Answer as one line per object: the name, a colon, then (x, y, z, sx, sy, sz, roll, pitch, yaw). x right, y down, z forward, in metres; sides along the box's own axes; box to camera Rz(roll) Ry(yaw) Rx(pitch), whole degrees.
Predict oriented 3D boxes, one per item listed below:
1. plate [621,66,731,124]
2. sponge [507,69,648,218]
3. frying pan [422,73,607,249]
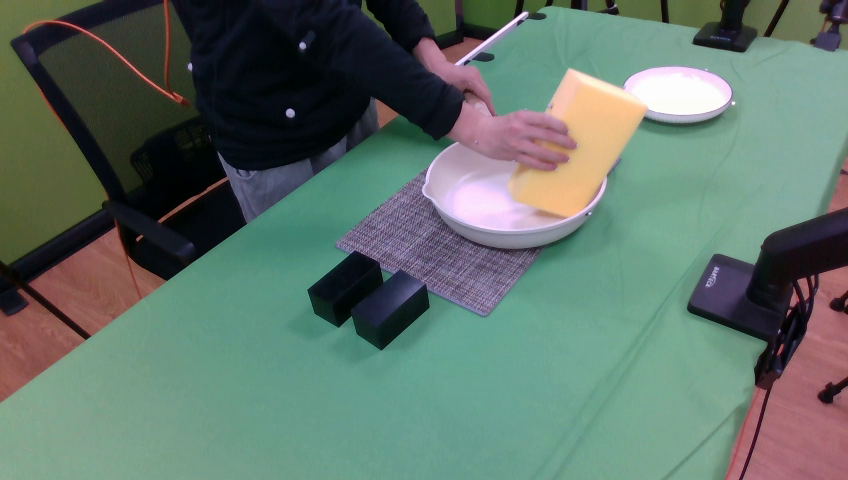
plate: (0.503, -0.288, 1.221, 0.207, 0.039, 0.206, -4, 41, 4)
sponge: (0.230, -0.141, 0.930, 0.119, 0.206, 0.060, 16, 31, -17)
frying pan: (0.130, -0.161, 1.069, 0.307, 0.103, 0.484, -10, 49, -5)
